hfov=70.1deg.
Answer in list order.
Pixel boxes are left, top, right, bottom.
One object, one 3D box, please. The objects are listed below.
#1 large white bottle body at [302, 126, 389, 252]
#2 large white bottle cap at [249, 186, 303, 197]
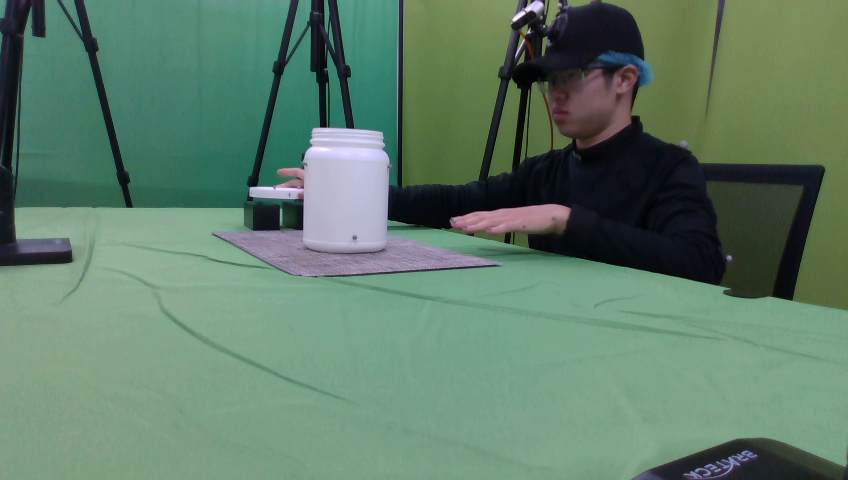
[{"bbox_3d":[-0.120,-0.080,0.936,0.131,0.184,0.130,2,7,0],"label":"large white bottle body"},{"bbox_3d":[-0.290,-0.097,1.209,0.115,0.018,0.115,2,7,0],"label":"large white bottle cap"}]
